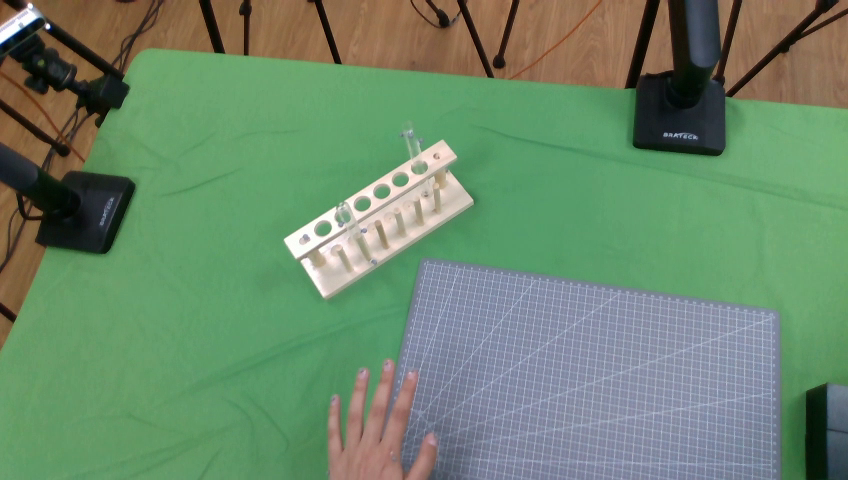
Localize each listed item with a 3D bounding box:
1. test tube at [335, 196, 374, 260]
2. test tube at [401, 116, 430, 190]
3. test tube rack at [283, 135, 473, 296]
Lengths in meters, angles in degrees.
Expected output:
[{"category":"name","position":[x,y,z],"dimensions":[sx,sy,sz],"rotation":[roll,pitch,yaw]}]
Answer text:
[{"category":"test tube","position":[-0.084,-0.012,0.743],"dimensions":[0.017,0.152,0.017],"rotation":[-3,64,7]},{"category":"test tube","position":[-0.009,-0.106,0.768],"dimensions":[0.017,0.151,0.017],"rotation":[-4,63,8]},{"category":"test tube rack","position":[-0.054,-0.030,0.796],"dimensions":[0.242,0.086,0.066],"rotation":[-33,67,-8]}]
